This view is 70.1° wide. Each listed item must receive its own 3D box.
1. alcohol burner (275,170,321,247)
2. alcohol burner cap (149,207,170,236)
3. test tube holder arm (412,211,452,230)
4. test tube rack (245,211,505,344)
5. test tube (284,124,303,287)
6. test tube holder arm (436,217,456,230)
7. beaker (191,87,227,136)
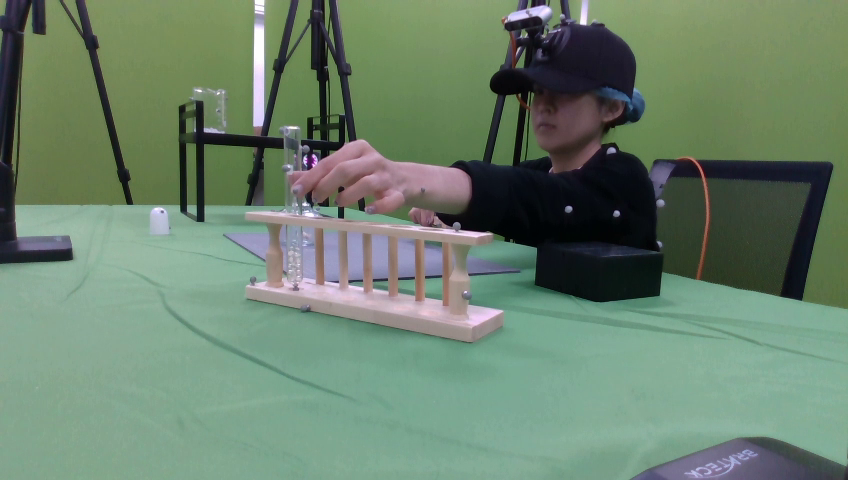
[{"bbox_3d":[-0.200,-0.050,0.948,0.078,0.119,0.078,1,8,0],"label":"alcohol burner"},{"bbox_3d":[-0.445,-0.032,1.019,0.034,0.048,0.034,5,8,0],"label":"alcohol burner cap"},{"bbox_3d":[0.011,-0.035,1.038,0.013,0.015,0.177,7,6,-22],"label":"test tube holder arm"},{"bbox_3d":[-0.049,0.025,0.547,0.241,0.085,0.067,7,8,29],"label":"test tube rack"},{"bbox_3d":[-0.120,-0.030,0.558,0.017,0.150,0.017,2,10,0],"label":"test tube"},{"bbox_3d":[0.032,-0.027,0.998,0.010,0.015,0.087,8,6,-20],"label":"test tube holder arm"},{"bbox_3d":[-0.476,-0.284,1.345,0.074,0.100,0.083,-3,10,-37],"label":"beaker"}]
